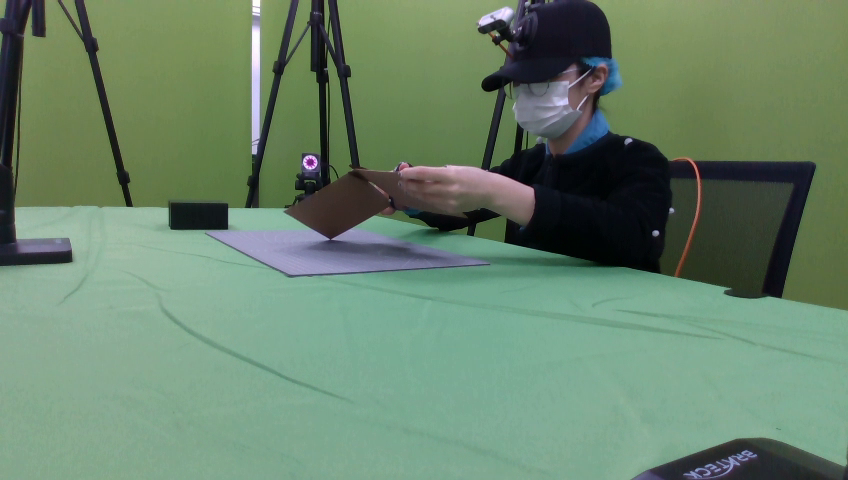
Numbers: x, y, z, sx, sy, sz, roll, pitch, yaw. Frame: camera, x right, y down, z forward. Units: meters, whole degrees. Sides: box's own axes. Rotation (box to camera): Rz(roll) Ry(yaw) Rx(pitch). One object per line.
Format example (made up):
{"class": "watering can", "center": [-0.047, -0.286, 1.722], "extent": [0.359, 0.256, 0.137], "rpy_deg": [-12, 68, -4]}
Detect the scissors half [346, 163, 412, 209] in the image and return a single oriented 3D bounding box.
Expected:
{"class": "scissors half", "center": [-0.071, -0.088, 0.970], "extent": [0.012, 0.040, 0.176], "rpy_deg": [14, -11, 35]}

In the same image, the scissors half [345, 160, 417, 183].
{"class": "scissors half", "center": [-0.066, -0.109, 0.970], "extent": [0.013, 0.040, 0.176], "rpy_deg": [8, 10, 35]}

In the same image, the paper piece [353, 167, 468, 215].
{"class": "paper piece", "center": [-0.020, -0.075, 0.912], "extent": [0.137, 0.008, 0.137], "rpy_deg": [14, -9, 43]}

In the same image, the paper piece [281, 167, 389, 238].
{"class": "paper piece", "center": [-0.137, -0.058, 0.980], "extent": [0.135, 0.004, 0.136], "rpy_deg": [-28, -30, 15]}
